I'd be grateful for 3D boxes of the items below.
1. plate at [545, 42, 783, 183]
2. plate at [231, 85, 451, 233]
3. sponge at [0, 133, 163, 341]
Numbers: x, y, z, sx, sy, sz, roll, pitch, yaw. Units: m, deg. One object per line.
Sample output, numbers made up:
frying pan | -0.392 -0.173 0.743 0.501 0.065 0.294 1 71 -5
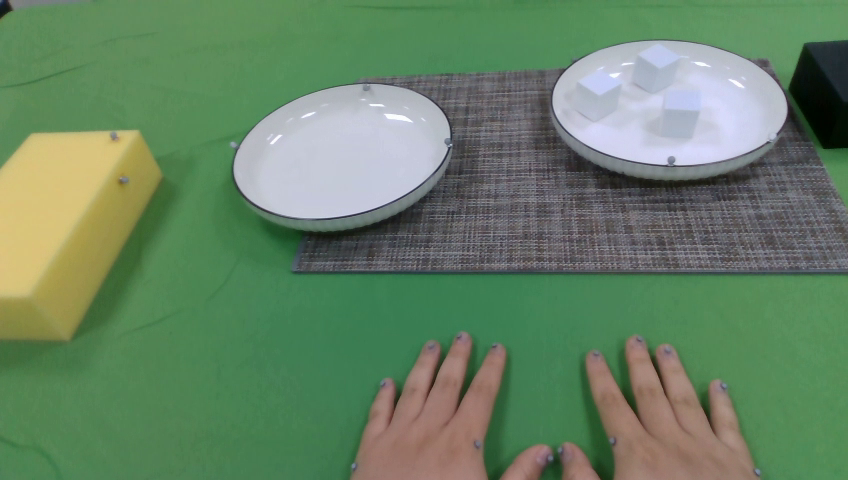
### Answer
plate | 0.220 -0.119 0.574 0.207 0.039 0.205 -4 46 5
plate | -0.076 -0.077 0.579 0.209 0.038 0.207 -4 46 5
sponge | -0.337 -0.010 0.544 0.118 0.061 0.205 -1 46 6
